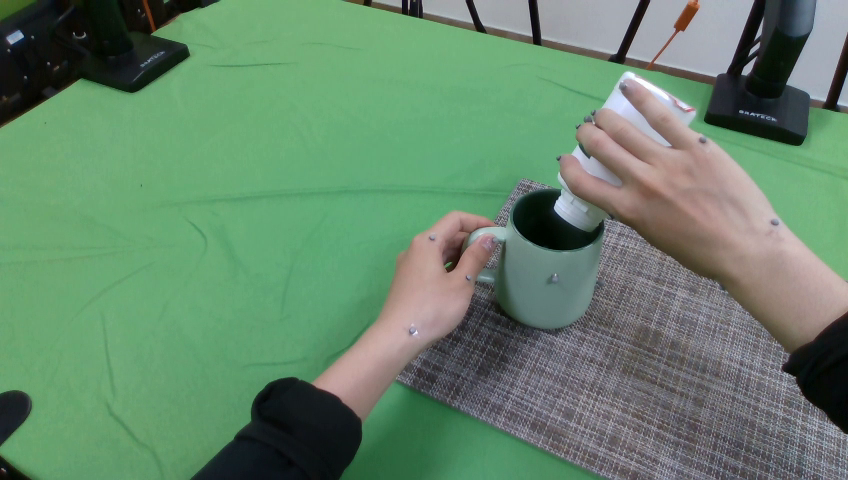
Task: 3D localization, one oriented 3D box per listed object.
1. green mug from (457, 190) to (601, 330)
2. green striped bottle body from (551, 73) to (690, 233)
[{"bbox_3d":[0.092,0.019,0.543,0.125,0.106,0.091,0,46,1],"label":"green mug"},{"bbox_3d":[0.149,-0.064,0.481,0.063,0.119,0.062,25,23,-11],"label":"green striped bottle body"}]
